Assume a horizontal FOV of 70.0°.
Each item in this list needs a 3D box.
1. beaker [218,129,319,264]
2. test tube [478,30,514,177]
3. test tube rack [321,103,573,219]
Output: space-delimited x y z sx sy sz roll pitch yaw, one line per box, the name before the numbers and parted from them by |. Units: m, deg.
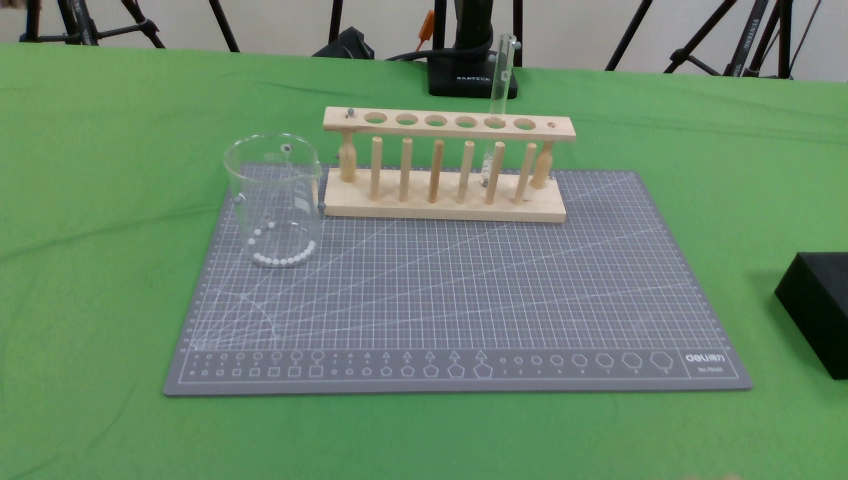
beaker | -0.128 -0.035 0.529 0.084 0.101 0.073 14 43 10
test tube | 0.068 -0.127 0.588 0.017 0.151 0.017 3 38 -2
test tube rack | 0.021 -0.077 0.603 0.243 0.086 0.066 2 42 -4
